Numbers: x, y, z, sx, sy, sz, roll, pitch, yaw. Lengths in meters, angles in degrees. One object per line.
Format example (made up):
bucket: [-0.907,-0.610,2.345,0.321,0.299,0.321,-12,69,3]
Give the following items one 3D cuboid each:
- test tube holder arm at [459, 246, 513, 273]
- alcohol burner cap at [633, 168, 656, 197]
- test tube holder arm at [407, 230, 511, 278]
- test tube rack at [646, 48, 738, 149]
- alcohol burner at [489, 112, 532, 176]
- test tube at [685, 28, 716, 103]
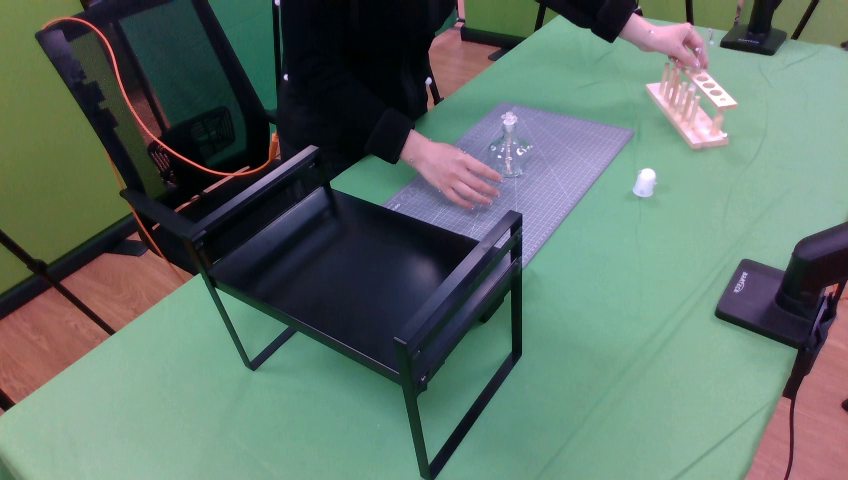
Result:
test tube holder arm: [0.085,0.027,0.857,0.087,0.015,0.010,20,64,30]
alcohol burner cap: [0.374,-0.098,1.018,0.034,0.048,0.033,-1,42,1]
test tube holder arm: [0.046,0.018,0.877,0.177,0.015,0.013,21,64,30]
test tube rack: [0.511,-0.280,1.175,0.067,0.085,0.241,-7,41,0]
alcohol burner: [0.155,-0.176,1.083,0.078,0.119,0.077,-3,41,3]
test tube: [0.525,-0.328,1.152,0.017,0.151,0.017,0,42,0]
